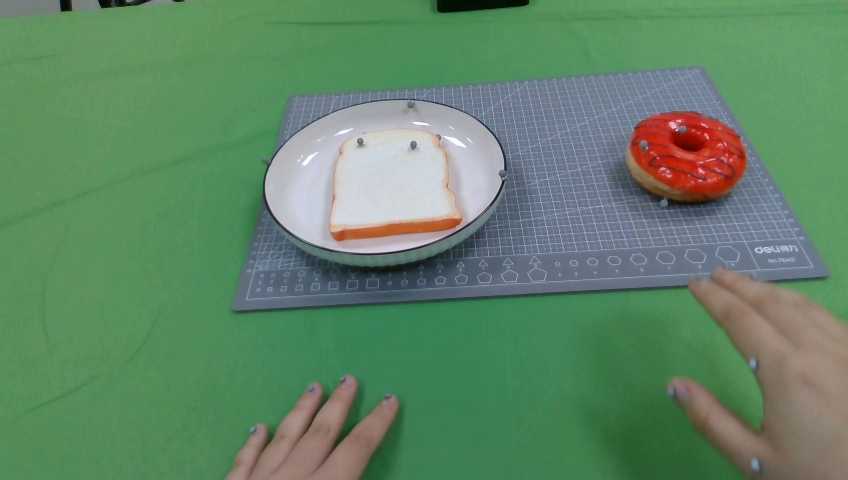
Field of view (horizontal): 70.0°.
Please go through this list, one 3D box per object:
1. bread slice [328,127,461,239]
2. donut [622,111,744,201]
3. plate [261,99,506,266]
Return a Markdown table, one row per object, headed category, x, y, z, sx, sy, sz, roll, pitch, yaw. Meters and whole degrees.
| category | x | y | z | sx | sy | sz | roll | pitch | yaw |
| --- | --- | --- | --- | --- | --- | --- | --- | --- | --- |
| bread slice | -0.031 | -0.054 | 0.532 | 0.107 | 0.018 | 0.133 | -7 | 46 | -4 |
| donut | 0.221 | -0.072 | 0.519 | 0.099 | 0.049 | 0.098 | -1 | 47 | 2 |
| plate | -0.033 | -0.051 | 0.528 | 0.209 | 0.038 | 0.207 | -2 | 46 | 3 |
